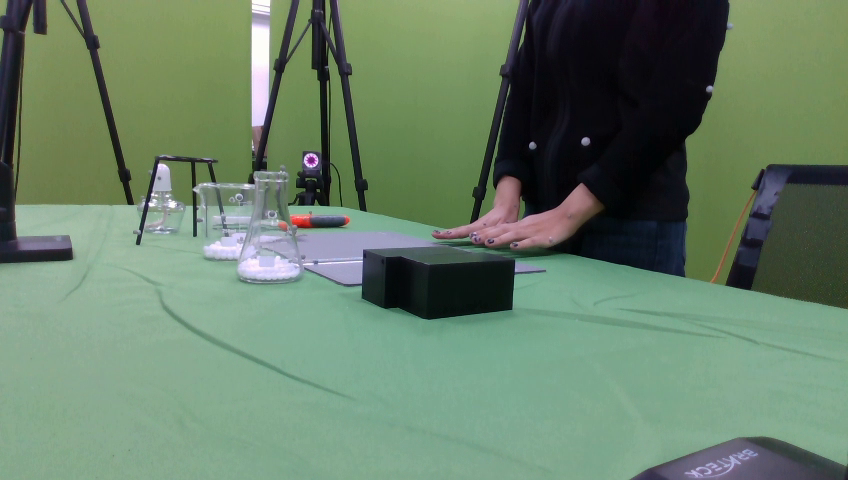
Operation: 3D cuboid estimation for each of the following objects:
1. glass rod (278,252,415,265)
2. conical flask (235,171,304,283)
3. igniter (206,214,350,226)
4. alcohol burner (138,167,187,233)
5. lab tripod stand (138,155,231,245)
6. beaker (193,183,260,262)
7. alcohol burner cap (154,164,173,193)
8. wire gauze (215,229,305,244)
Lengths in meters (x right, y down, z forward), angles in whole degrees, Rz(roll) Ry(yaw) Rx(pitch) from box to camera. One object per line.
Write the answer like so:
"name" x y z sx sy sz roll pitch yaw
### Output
"glass rod" -0.097 0.024 0.805 0.201 0.008 0.008 -3 8 -33
"conical flask" -0.172 -0.016 0.677 0.075 0.122 0.075 2 7 0
"igniter" -0.279 -0.038 1.185 0.278 0.025 0.057 -2 -1 -30
"alcohol burner" -0.450 -0.070 1.044 0.078 0.119 0.078 5 7 0
"lab tripod stand" -0.358 -0.062 0.927 0.148 0.131 0.148 4 6 0
"beaker" -0.262 -0.025 0.806 0.084 0.100 0.073 -3 9 -30
"alcohol burner cap" -0.450 -0.106 1.038 0.034 0.048 0.034 3 13 0
"wire gauze" -0.273 -0.009 1.013 0.122 0.011 0.124 -2 9 -33
